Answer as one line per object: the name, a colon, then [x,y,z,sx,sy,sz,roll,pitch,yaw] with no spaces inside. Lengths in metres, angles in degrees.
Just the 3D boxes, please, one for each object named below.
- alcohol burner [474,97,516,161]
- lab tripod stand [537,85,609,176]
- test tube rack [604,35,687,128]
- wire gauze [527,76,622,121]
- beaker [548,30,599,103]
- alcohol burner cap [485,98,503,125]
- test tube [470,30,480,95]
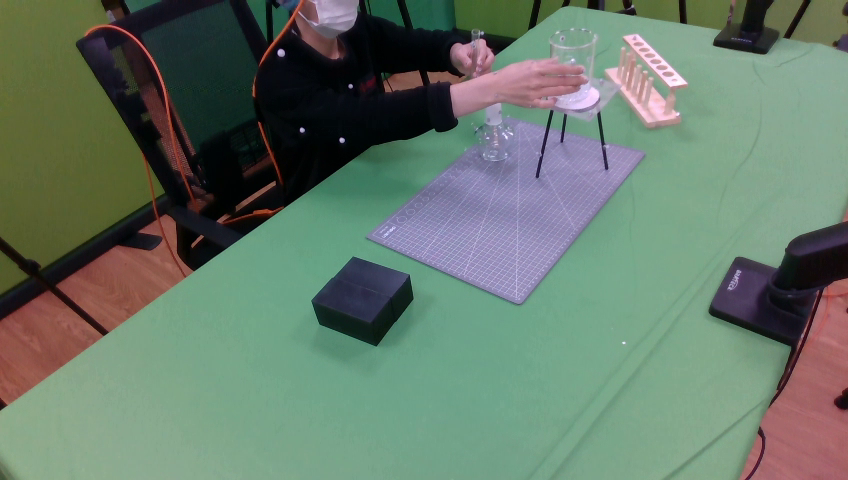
alcohol burner: [0.131,-0.208,1.121,0.078,0.119,0.077,-6,40,5]
lab tripod stand: [0.259,-0.192,1.068,0.148,0.132,0.147,-4,43,4]
test tube rack: [0.447,-0.330,1.241,0.067,0.085,0.241,-9,41,-2]
wire gauze: [0.256,-0.247,1.031,0.124,0.011,0.122,24,50,34]
beaker: [0.246,-0.287,1.003,0.084,0.101,0.073,-12,43,-3]
alcohol burner cap: [0.126,-0.234,1.097,0.034,0.048,0.033,-3,38,3]
test tube: [0.098,-0.340,1.171,0.017,0.151,0.017,-1,55,2]
